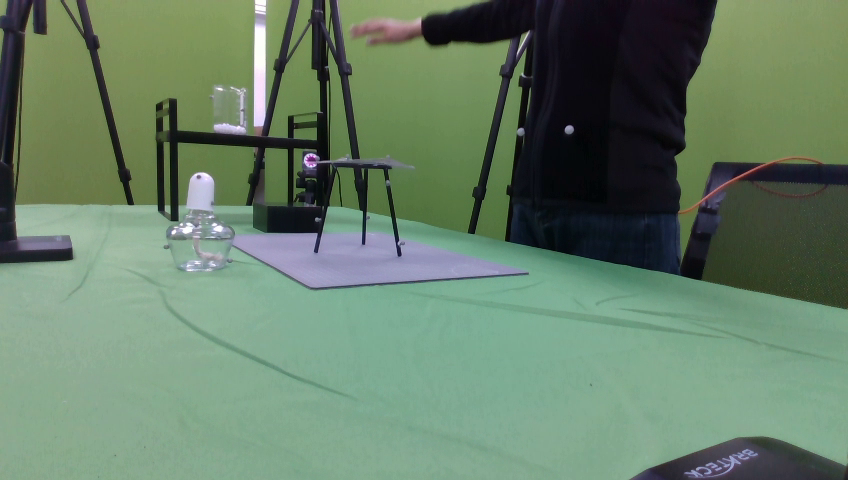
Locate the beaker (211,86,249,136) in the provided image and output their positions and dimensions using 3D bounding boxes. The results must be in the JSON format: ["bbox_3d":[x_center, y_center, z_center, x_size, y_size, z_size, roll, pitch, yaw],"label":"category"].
[{"bbox_3d":[-0.413,-0.274,1.297,0.074,0.100,0.083,-5,11,-44],"label":"beaker"}]

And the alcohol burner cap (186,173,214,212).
[{"bbox_3d":[-0.268,-0.057,0.730,0.034,0.048,0.034,5,2,0],"label":"alcohol burner cap"}]

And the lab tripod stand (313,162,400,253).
[{"bbox_3d":[-0.097,-0.051,0.906,0.148,0.131,0.148,1,6,0],"label":"lab tripod stand"}]

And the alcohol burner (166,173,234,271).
[{"bbox_3d":[-0.271,-0.022,0.735,0.078,0.119,0.078,2,5,0],"label":"alcohol burner"}]

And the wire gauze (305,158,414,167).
[{"bbox_3d":[-0.092,-0.117,0.894,0.121,0.011,0.125,4,7,19],"label":"wire gauze"}]
